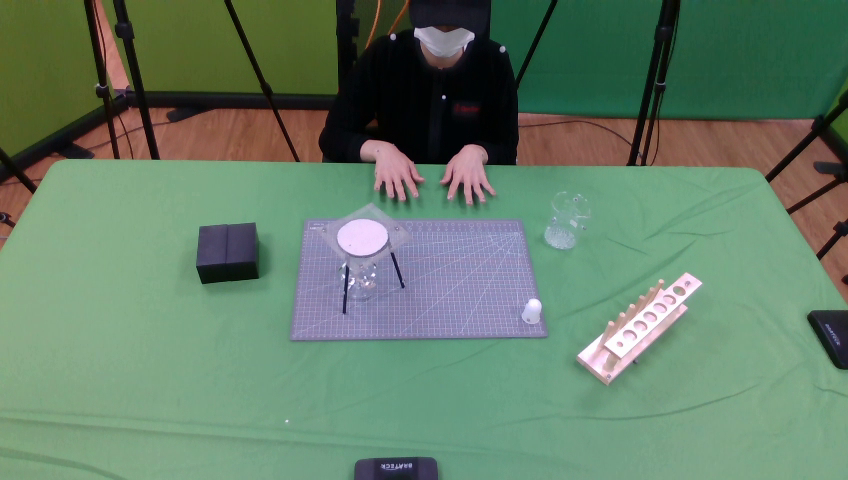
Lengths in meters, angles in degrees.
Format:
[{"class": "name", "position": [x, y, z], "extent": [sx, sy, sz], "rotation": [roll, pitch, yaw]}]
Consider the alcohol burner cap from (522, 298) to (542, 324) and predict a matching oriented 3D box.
[{"class": "alcohol burner cap", "position": [0.193, 0.124, 1.074], "extent": [0.034, 0.048, 0.033], "rotation": [2, 46, -1]}]

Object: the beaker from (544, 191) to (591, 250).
[{"class": "beaker", "position": [0.282, -0.035, 1.199], "extent": [0.083, 0.101, 0.074], "rotation": [31, 52, 23]}]

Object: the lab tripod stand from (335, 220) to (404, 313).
[{"class": "lab tripod stand", "position": [-0.110, 0.039, 1.070], "extent": [0.148, 0.132, 0.147], "rotation": [1, 46, -1]}]

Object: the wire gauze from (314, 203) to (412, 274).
[{"class": "wire gauze", "position": [-0.103, -0.009, 1.023], "extent": [0.121, 0.011, 0.124], "rotation": [-29, 53, -27]}]

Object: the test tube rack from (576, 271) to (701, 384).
[{"class": "test tube rack", "position": [0.373, 0.138, 1.048], "extent": [0.242, 0.085, 0.066], "rotation": [-31, 56, -29]}]

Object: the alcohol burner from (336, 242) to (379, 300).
[{"class": "alcohol burner", "position": [-0.118, 0.050, 1.072], "extent": [0.078, 0.120, 0.077], "rotation": [2, 44, -1]}]
